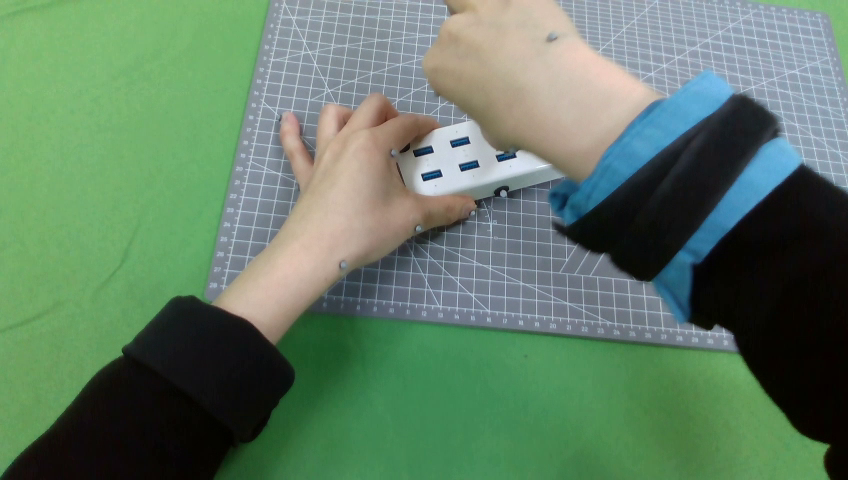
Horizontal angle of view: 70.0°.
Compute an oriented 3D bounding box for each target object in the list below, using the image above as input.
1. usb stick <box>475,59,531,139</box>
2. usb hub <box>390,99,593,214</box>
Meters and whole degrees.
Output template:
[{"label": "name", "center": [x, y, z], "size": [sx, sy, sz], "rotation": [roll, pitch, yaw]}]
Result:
[{"label": "usb stick", "center": [0.047, -0.082, 0.373], "size": [0.021, 0.059, 0.027], "rotation": [-18, 70, -10]}, {"label": "usb hub", "center": [0.044, -0.056, 0.398], "size": [0.125, 0.025, 0.049], "rotation": [-14, 71, -11]}]
